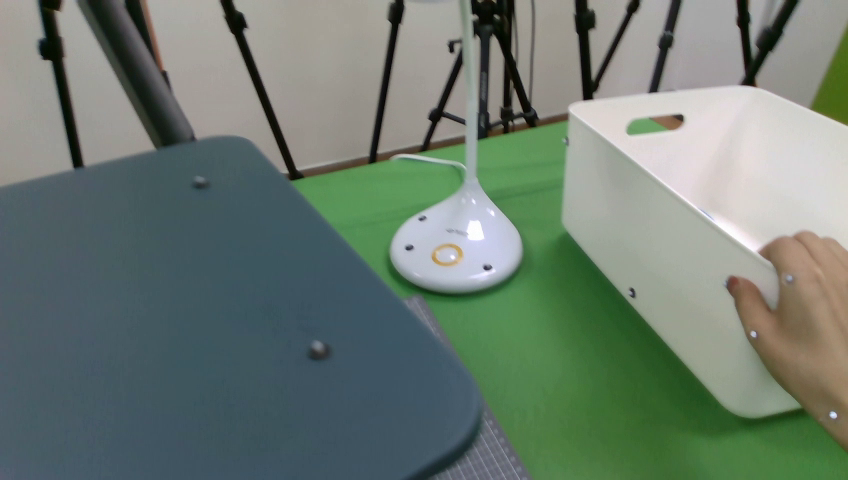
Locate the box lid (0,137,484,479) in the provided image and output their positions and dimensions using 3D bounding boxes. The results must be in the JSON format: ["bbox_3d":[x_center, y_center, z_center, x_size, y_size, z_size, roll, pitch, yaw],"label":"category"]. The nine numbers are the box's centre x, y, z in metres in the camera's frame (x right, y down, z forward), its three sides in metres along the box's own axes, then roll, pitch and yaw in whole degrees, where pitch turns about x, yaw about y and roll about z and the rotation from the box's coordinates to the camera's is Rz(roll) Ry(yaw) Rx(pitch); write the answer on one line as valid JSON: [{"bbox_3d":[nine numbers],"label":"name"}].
[{"bbox_3d":[-0.170,0.038,0.331,0.264,0.015,0.367,-21,39,-25],"label":"box lid"}]

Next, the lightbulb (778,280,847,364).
[{"bbox_3d":[0.372,0.083,0.546,0.059,0.060,0.106,-19,54,-21],"label":"lightbulb"}]

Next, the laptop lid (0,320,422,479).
[{"bbox_3d":[-0.193,0.185,0.482,0.357,0.013,0.239,-13,39,-15],"label":"laptop lid"}]

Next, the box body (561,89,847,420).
[{"bbox_3d":[0.320,-0.014,0.608,0.255,0.161,0.360,-8,32,-12],"label":"box body"}]

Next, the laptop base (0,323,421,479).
[{"bbox_3d":[-0.193,0.193,0.490,0.355,0.023,0.232,-14,41,-16],"label":"laptop base"}]

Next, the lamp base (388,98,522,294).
[{"bbox_3d":[0.037,-0.059,0.693,0.160,0.182,0.178,6,34,11],"label":"lamp base"}]

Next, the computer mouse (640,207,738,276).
[{"bbox_3d":[0.304,-0.003,0.697,0.063,0.041,0.116,-6,36,-14],"label":"computer mouse"}]

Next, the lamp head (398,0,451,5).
[{"bbox_3d":[0.001,-0.265,0.474,0.112,0.113,0.122,1,61,5],"label":"lamp head"}]
